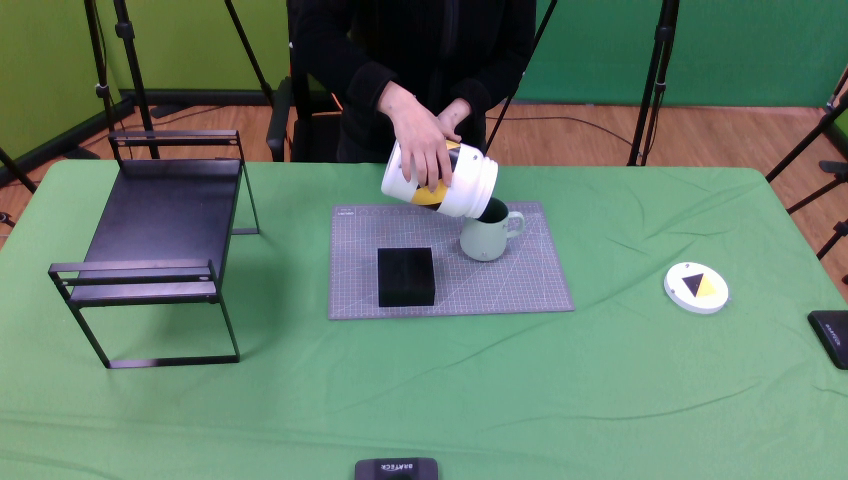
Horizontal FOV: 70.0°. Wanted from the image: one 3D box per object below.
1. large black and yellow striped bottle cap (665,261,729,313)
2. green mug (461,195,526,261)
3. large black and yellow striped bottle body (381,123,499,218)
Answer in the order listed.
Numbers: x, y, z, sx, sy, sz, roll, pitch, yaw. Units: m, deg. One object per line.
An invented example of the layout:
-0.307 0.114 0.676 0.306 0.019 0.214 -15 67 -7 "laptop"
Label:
0.518 0.087 1.152 0.115 0.019 0.114 2 47 -2 "large black and yellow striped bottle cap"
0.136 -0.024 1.168 0.125 0.105 0.092 -7 47 -10 "green mug"
0.028 -0.118 1.078 0.184 0.131 0.130 18 46 -8 "large black and yellow striped bottle body"
